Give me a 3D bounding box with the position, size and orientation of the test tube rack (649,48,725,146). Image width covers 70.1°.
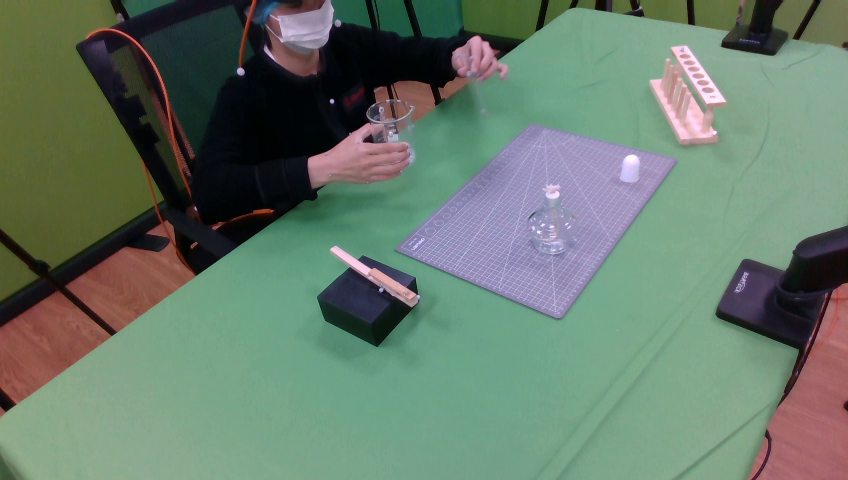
[{"bbox_3d":[0.508,-0.285,1.186,0.067,0.085,0.241,-4,40,6],"label":"test tube rack"}]

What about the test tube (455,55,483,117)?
[{"bbox_3d":[0.083,-0.275,1.095,0.017,0.151,0.017,-9,58,16],"label":"test tube"}]

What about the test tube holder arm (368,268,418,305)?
[{"bbox_3d":[-0.043,0.063,0.827,0.015,0.010,0.087,-37,47,-29],"label":"test tube holder arm"}]

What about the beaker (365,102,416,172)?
[{"bbox_3d":[-0.051,-0.173,1.022,0.084,0.101,0.073,-18,42,-12],"label":"beaker"}]

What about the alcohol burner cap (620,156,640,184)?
[{"bbox_3d":[0.358,-0.124,1.047,0.034,0.048,0.033,-4,40,4],"label":"alcohol burner cap"}]

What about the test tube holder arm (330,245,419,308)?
[{"bbox_3d":[-0.074,0.049,0.857,0.177,0.013,0.015,30,53,36],"label":"test tube holder arm"}]

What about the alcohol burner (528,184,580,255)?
[{"bbox_3d":[0.196,-0.036,0.911,0.078,0.119,0.077,-6,41,5],"label":"alcohol burner"}]
